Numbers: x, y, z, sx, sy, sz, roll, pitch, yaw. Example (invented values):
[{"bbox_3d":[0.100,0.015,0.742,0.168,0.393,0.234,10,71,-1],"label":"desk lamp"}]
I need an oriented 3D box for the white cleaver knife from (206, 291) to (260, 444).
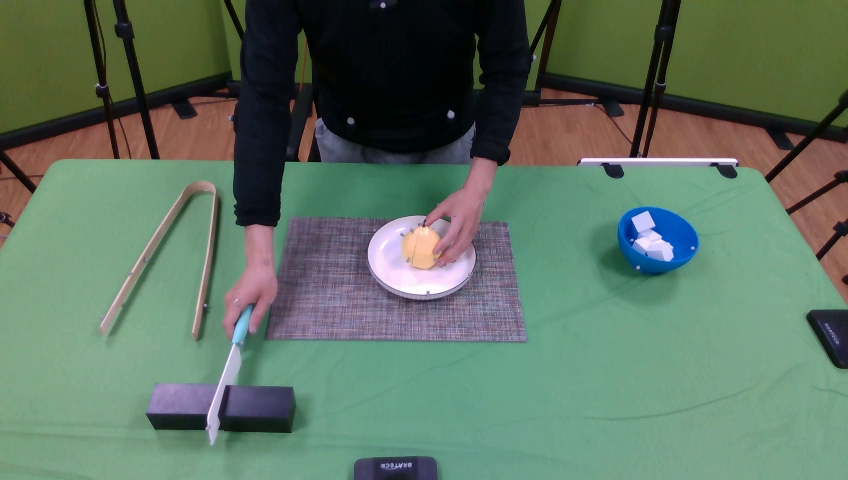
[{"bbox_3d":[-0.303,0.187,0.959,0.021,0.066,0.284,8,37,-4],"label":"white cleaver knife"}]

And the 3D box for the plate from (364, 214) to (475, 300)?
[{"bbox_3d":[-0.010,0.036,1.146,0.208,0.039,0.206,2,46,-2],"label":"plate"}]

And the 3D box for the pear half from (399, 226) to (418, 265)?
[{"bbox_3d":[-0.030,0.005,1.124,0.031,0.088,0.070,5,49,-3],"label":"pear half"}]

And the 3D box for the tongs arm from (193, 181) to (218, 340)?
[{"bbox_3d":[-0.413,0.024,1.140,0.028,0.028,0.385,-5,47,-7],"label":"tongs arm"}]

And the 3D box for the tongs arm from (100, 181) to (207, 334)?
[{"bbox_3d":[-0.494,0.018,1.132,0.051,0.026,0.382,6,45,0],"label":"tongs arm"}]

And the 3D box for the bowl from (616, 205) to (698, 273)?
[{"bbox_3d":[0.443,0.011,1.182,0.151,0.077,0.150,2,46,-2],"label":"bowl"}]

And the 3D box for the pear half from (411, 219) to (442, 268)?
[{"bbox_3d":[0.007,0.003,1.117,0.056,0.110,0.076,5,51,-1],"label":"pear half"}]
